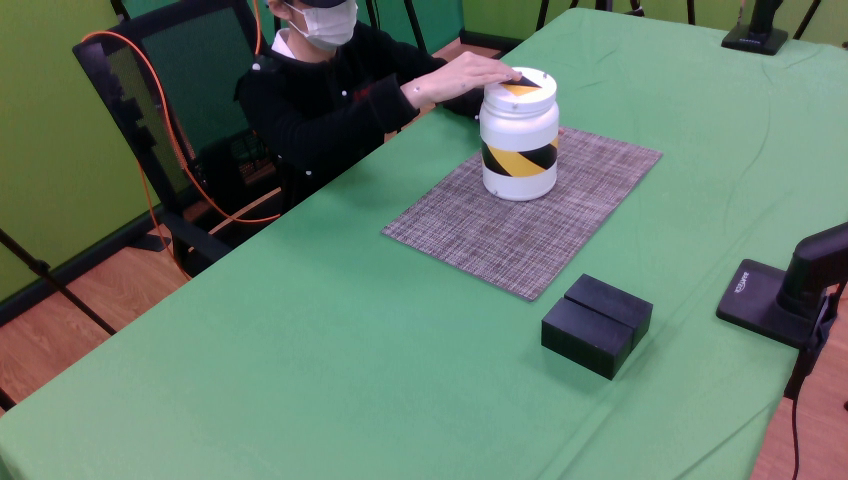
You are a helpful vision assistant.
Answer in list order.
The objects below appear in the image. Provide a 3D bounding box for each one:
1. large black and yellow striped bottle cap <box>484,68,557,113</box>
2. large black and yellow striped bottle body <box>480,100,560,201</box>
[{"bbox_3d":[0.154,-0.240,0.964,0.115,0.019,0.114,-1,44,1],"label":"large black and yellow striped bottle cap"},{"bbox_3d":[0.162,-0.173,1.023,0.131,0.185,0.130,-5,40,4],"label":"large black and yellow striped bottle body"}]
